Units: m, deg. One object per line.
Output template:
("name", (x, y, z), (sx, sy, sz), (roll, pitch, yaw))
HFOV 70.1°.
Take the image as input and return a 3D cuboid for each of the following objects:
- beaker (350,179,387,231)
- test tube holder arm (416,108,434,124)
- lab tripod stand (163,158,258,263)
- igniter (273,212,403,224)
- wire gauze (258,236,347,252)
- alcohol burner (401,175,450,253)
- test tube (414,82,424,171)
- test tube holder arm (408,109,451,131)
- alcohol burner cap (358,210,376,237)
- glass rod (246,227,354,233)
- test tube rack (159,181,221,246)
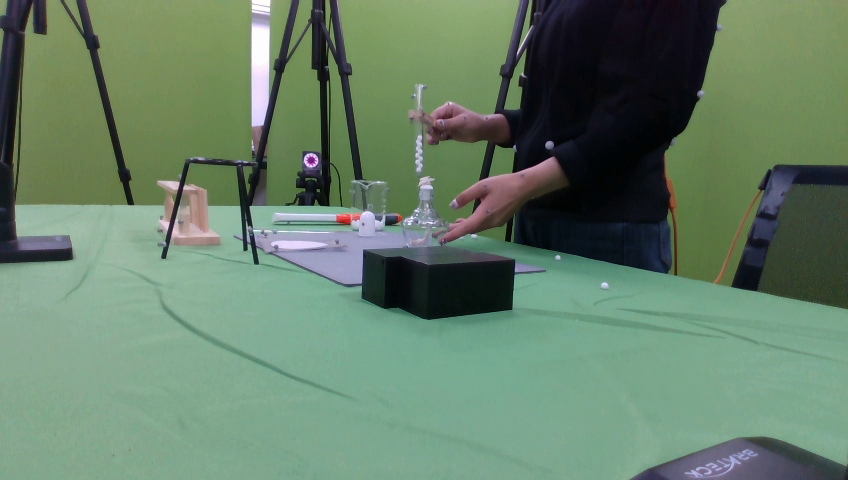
("beaker", (-0.111, -0.070, 1.204), (0.074, 0.100, 0.084), (2, 8, 0))
("test tube holder arm", (0.003, -0.213, 1.044), (0.010, 0.015, 0.088), (3, 3, 15))
("lab tripod stand", (-0.265, -0.041, 0.802), (0.148, 0.131, 0.148), (4, 6, 0))
("igniter", (-0.179, -0.048, 1.290), (0.278, 0.025, 0.057), (-1, -2, -24))
("wire gauze", (-0.189, 0.005, 0.931), (0.122, 0.011, 0.124), (1, 7, -21))
("alcohol burner", (0.003, -0.040, 0.933), (0.078, 0.119, 0.078), (2, 9, 0))
("test tube", (-0.008, -0.191, 1.023), (0.017, 0.150, 0.017), (0, -1, 0))
("test tube holder arm", (0.013, -0.215, 1.088), (0.013, 0.015, 0.179), (4, 3, 22))
("alcohol burner cap", (-0.104, -0.030, 1.098), (0.034, 0.048, 0.034), (2, 7, 0))
("glass rod", (-0.224, -0.017, 1.109), (0.201, 0.008, 0.008), (1, 7, -27))
("test tube rack", (-0.395, -0.050, 1.010), (0.067, 0.085, 0.241), (-2, 8, -28))
